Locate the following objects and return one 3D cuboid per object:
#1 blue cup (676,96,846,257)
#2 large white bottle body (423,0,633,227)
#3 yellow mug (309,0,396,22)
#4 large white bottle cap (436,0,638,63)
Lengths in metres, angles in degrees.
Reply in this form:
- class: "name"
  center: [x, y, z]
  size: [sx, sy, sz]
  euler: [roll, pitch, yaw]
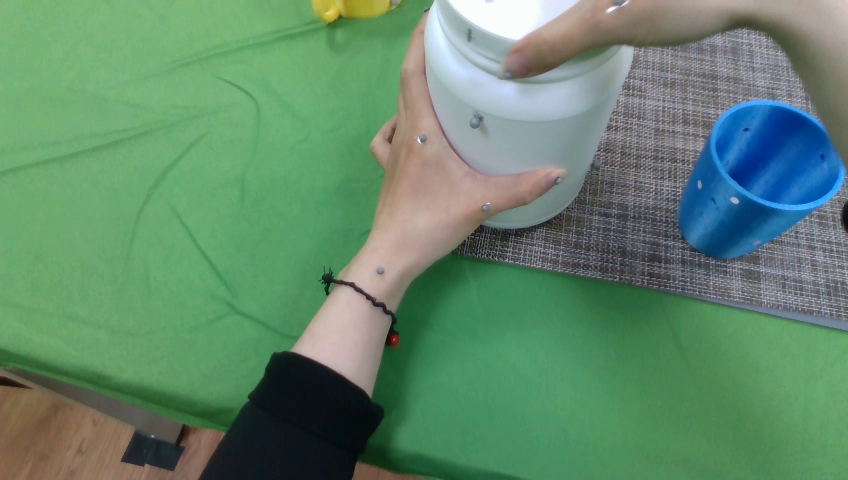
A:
- class: "blue cup"
  center: [0.225, -0.035, 0.430]
  size: [0.092, 0.101, 0.092]
  euler: [-1, 63, 2]
- class: "large white bottle body"
  center: [0.064, -0.106, 0.418]
  size: [0.130, 0.186, 0.129]
  euler: [0, 63, 0]
- class: "yellow mug"
  center: [-0.072, -0.259, 0.565]
  size: [0.099, 0.064, 0.130]
  euler: [21, 66, 10]
- class: "large white bottle cap"
  center: [0.063, -0.147, 0.340]
  size: [0.115, 0.018, 0.114]
  euler: [0, 63, 1]
